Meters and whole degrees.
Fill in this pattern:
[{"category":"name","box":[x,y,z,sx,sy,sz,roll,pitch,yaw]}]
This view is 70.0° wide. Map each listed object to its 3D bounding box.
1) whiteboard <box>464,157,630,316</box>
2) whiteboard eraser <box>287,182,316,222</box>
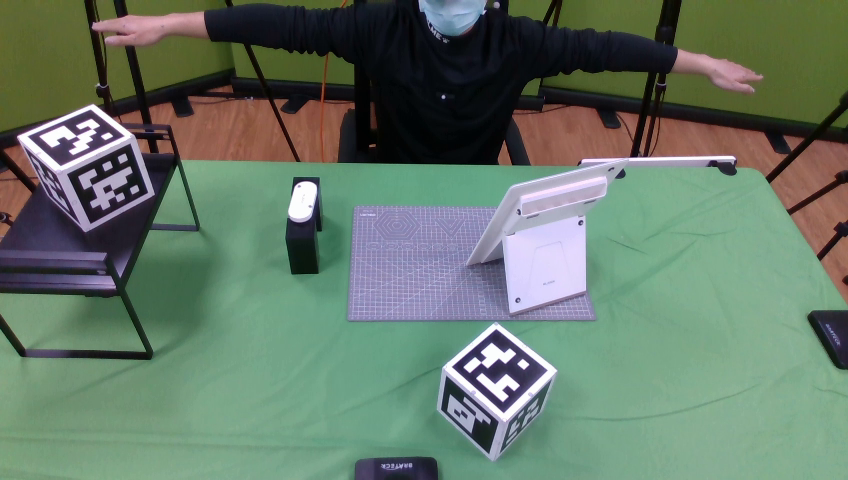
[{"category":"whiteboard","box":[0.223,0.014,1.041,0.217,0.306,0.143,-14,68,-17]},{"category":"whiteboard eraser","box":[-0.224,-0.071,1.111,0.041,0.019,0.100,3,44,0]}]
